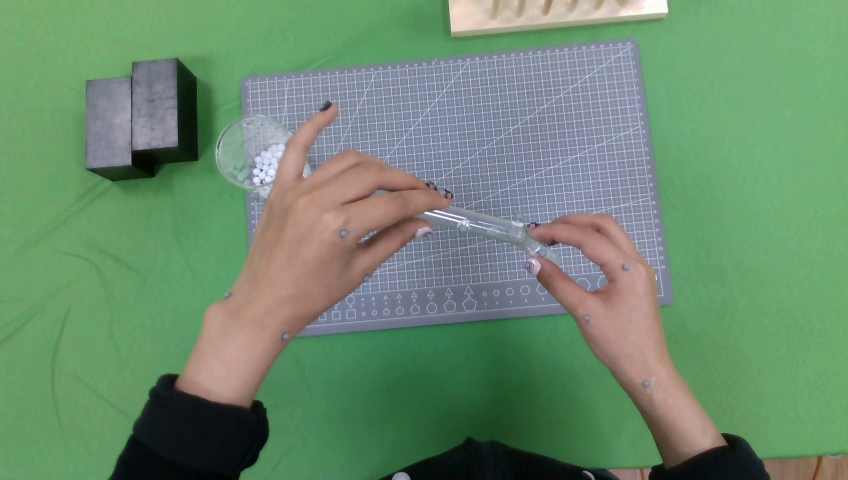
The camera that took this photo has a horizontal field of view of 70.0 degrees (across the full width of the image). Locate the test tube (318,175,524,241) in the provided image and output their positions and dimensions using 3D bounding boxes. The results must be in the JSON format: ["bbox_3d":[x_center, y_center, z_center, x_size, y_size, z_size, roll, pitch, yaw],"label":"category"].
[{"bbox_3d":[-0.005,-0.023,0.420,0.150,0.017,0.017,14,82,13],"label":"test tube"}]

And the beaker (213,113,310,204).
[{"bbox_3d":[-0.160,-0.080,0.628,0.084,0.100,0.073,-13,82,0],"label":"beaker"}]

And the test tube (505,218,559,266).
[{"bbox_3d":[0.089,0.005,0.482,0.017,0.151,0.017,-4,79,21],"label":"test tube"}]

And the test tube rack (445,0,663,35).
[{"bbox_3d":[0.143,-0.284,0.655,0.242,0.085,0.066,-5,82,2],"label":"test tube rack"}]
